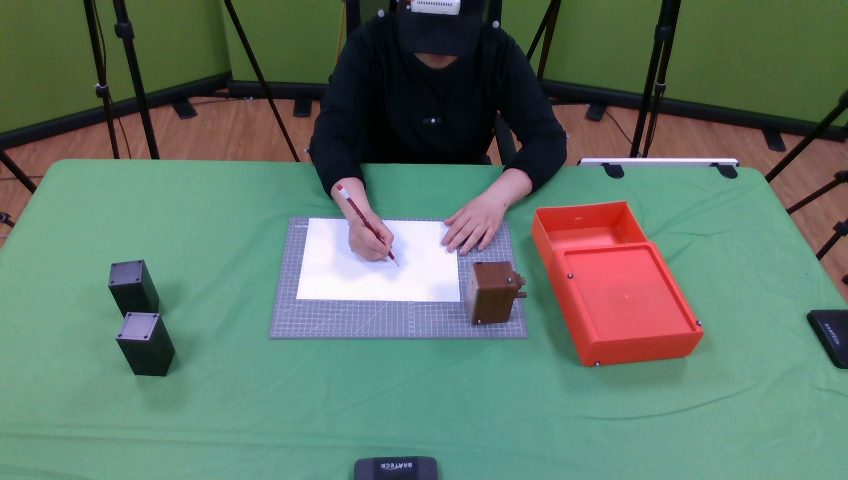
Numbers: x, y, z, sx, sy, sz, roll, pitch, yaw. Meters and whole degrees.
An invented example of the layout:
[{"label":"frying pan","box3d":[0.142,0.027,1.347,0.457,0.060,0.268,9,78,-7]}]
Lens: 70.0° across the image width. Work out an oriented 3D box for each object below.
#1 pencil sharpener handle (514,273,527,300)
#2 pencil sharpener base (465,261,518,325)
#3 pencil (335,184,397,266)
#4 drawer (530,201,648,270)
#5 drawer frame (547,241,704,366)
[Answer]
[{"label":"pencil sharpener handle","box3d":[0.169,0.081,1.051,0.031,0.068,0.035,-3,48,-7]},{"label":"pencil sharpener base","box3d":[0.117,0.093,1.052,0.077,0.107,0.061,-3,45,-7]},{"label":"pencil","box3d":[-0.104,-0.025,1.121,0.012,0.195,0.012,-31,20,12]},{"label":"drawer","box3d":[0.329,0.025,1.159,0.195,0.073,0.210,-5,46,-9]},{"label":"drawer frame","box3d":[0.348,0.106,1.077,0.202,0.083,0.212,-4,47,-9]}]
